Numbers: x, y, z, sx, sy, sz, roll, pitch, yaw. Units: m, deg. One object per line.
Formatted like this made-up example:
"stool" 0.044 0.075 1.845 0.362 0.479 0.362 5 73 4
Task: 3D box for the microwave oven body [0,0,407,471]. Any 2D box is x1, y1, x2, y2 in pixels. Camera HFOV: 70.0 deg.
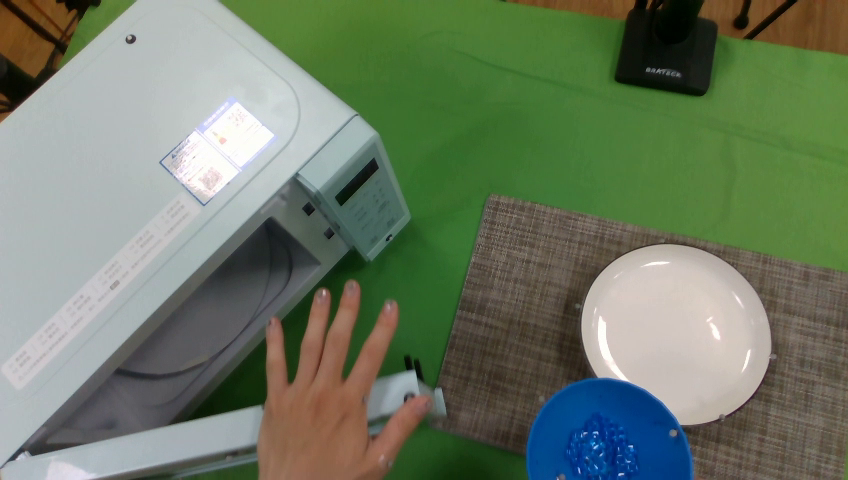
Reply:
"microwave oven body" -0.291 -0.013 0.676 0.324 0.262 0.441 41 82 15

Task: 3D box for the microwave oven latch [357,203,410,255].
"microwave oven latch" -0.052 -0.020 0.754 0.030 0.030 0.079 43 83 16

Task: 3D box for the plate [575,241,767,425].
"plate" 0.277 0.105 0.695 0.207 0.039 0.206 -2 73 5

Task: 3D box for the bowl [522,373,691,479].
"bowl" 0.166 0.208 0.585 0.151 0.077 0.150 -1 72 3

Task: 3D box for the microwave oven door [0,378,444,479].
"microwave oven door" -0.165 0.190 0.596 0.356 0.245 0.039 -13 72 2
